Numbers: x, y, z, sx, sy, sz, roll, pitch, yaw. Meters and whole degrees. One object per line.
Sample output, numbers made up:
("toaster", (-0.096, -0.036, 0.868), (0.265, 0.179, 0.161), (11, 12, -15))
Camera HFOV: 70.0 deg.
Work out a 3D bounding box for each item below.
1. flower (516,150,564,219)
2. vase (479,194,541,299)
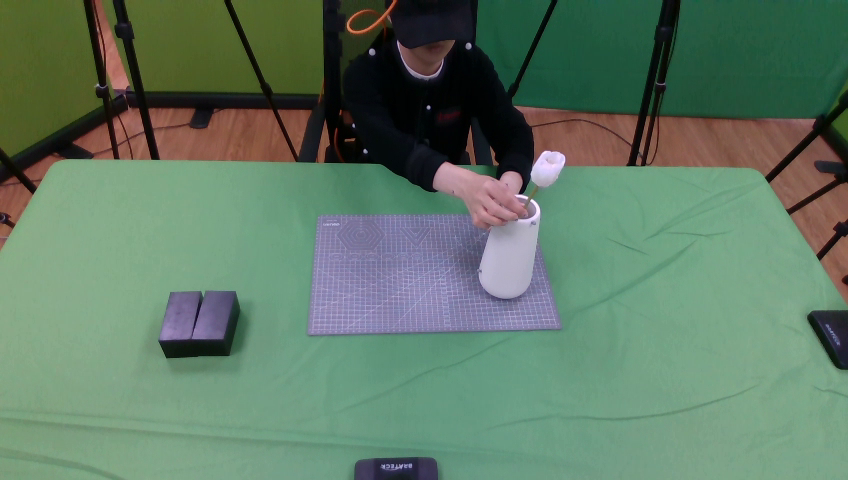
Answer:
("flower", (0.150, -0.031, 0.993), (0.044, 0.363, 0.038), (-29, 71, -22))
("vase", (0.153, 0.015, 1.066), (0.098, 0.201, 0.097), (1, 47, -1))
